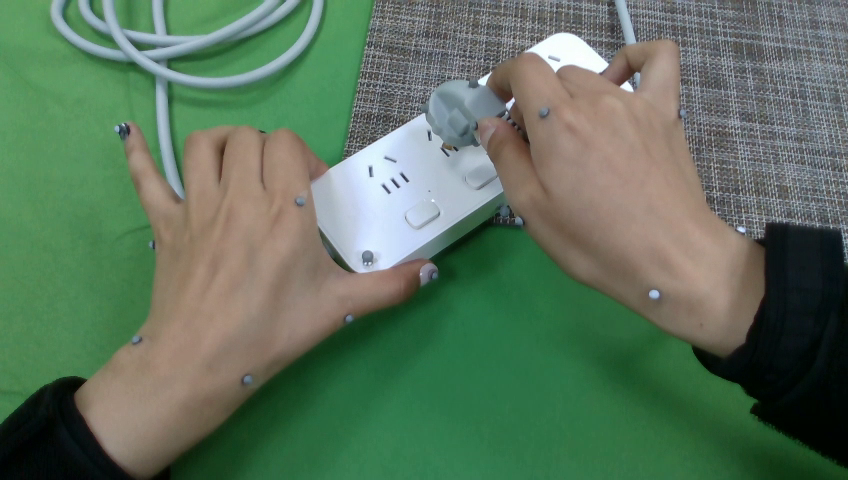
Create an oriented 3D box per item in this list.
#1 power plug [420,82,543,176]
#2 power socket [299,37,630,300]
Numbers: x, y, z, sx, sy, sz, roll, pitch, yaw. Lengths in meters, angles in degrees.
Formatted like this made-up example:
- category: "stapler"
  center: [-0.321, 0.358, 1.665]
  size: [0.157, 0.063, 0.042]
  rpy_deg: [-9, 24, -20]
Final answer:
- category: "power plug"
  center: [0.025, -0.052, 0.326]
  size: [0.035, 0.053, 0.072]
  rpy_deg: [-23, 78, -19]
- category: "power socket"
  center: [0.029, -0.050, 0.364]
  size: [0.227, 0.033, 0.071]
  rpy_deg: [-34, 71, -16]
